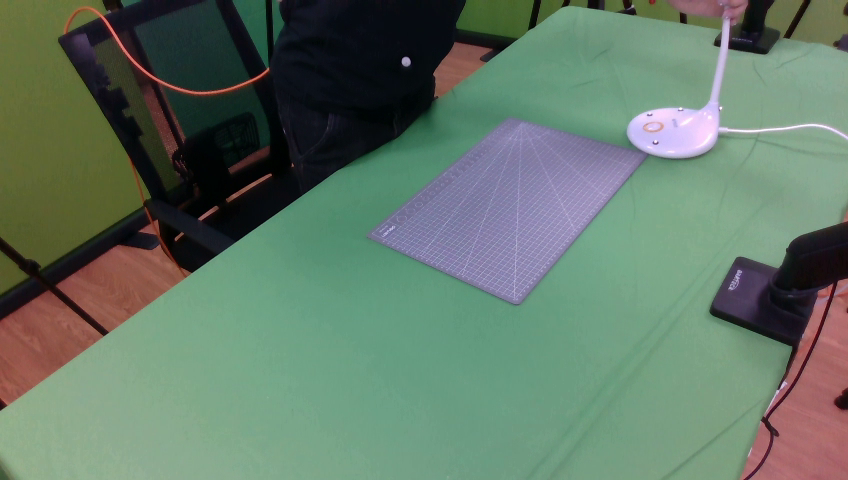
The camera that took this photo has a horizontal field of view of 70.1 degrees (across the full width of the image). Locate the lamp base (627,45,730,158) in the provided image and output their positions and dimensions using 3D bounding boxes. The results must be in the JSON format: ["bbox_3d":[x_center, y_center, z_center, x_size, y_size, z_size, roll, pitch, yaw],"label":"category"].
[{"bbox_3d":[0.469,-0.262,1.086,0.179,0.181,0.159,-4,41,-1],"label":"lamp base"}]
